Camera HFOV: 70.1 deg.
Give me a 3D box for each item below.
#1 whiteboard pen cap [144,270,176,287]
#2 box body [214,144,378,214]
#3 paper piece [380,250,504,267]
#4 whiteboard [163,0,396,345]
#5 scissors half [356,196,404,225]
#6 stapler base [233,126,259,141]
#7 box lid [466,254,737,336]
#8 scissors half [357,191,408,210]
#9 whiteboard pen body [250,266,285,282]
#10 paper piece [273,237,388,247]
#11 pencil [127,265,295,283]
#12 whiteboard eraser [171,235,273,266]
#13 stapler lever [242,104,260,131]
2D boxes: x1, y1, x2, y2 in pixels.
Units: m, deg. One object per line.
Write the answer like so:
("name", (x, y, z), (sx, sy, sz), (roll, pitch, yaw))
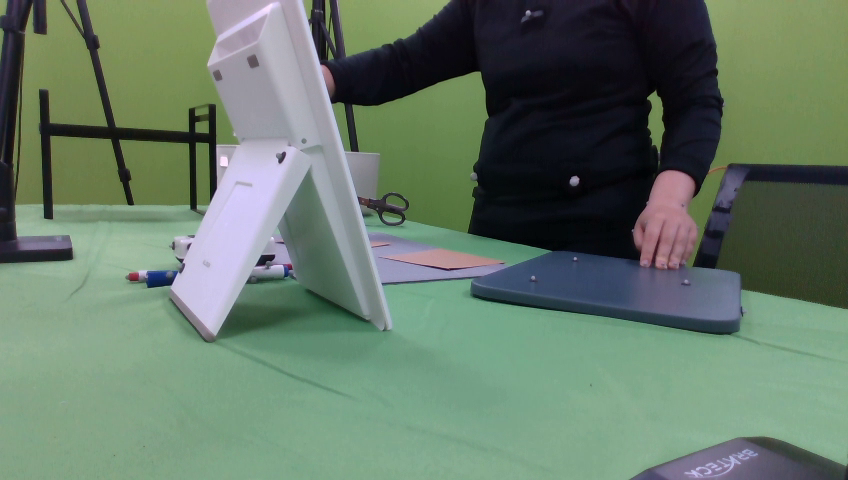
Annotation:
("whiteboard pen cap", (-0.271, 0.039, 0.627), (0.033, 0.018, 0.018), (-3, 10, -32))
("box body", (-0.328, -0.154, 1.543), (0.366, 0.160, 0.253), (-2, 9, -32))
("paper piece", (0.026, 0.027, 0.865), (0.134, 0.004, 0.136), (8, 8, 43))
("whiteboard", (-0.173, -0.053, 0.511), (0.144, 0.305, 0.216), (-23, 19, -26))
("scissors half", (-0.127, -0.072, 1.321), (0.175, 0.040, 0.013), (22, 4, -5))
("stapler base", (-0.301, -0.184, 1.036), (0.041, 0.024, 0.130), (13, 4, -16))
("box lid", (0.234, 0.055, 0.735), (0.262, 0.015, 0.373), (7, 7, 27))
("scissors half", (-0.123, -0.092, 1.318), (0.175, 0.040, 0.013), (5, 11, -3))
("whiteboard pen body", (-0.220, 0.039, 0.656), (0.141, 0.017, 0.017), (-2, 9, -31))
("paper piece", (-0.151, 0.003, 0.978), (0.135, 0.008, 0.139), (12, 10, 35))
("pencil", (-0.231, 0.037, 0.690), (0.195, 0.012, 0.012), (-2, 9, -34))
("whiteboard eraser", (-0.248, 0.014, 0.747), (0.113, 0.042, 0.055), (-1, 10, -32))
("stapler lever", (-0.297, -0.209, 1.035), (0.027, 0.040, 0.117), (13, 4, -16))
